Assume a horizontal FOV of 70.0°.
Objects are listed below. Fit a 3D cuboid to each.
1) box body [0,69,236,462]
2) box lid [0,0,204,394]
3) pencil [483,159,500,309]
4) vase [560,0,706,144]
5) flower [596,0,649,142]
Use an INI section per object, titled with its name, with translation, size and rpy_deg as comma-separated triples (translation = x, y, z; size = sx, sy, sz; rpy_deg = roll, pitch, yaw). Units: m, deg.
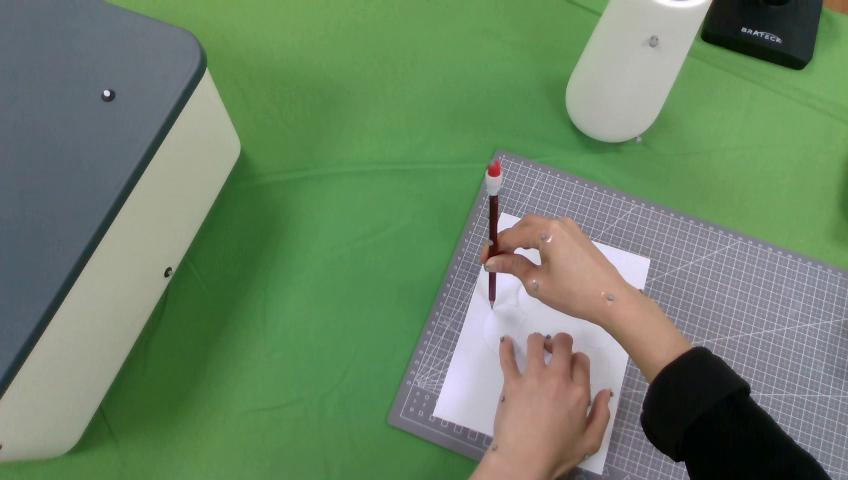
[box body]
translation = -0.359, -0.020, 0.523
size = 0.254, 0.161, 0.362
rpy_deg = 20, 71, 7
[box lid]
translation = -0.358, -0.048, 0.453
size = 0.263, 0.015, 0.370
rpy_deg = 21, 71, 6
[pencil]
translation = 0.054, 0.005, 0.503
size = 0.012, 0.196, 0.012
rpy_deg = -2, 52, 3
[vase]
translation = 0.191, -0.175, 0.568
size = 0.098, 0.201, 0.097
rpy_deg = 0, 69, 0
[flower]
translation = 0.190, -0.218, 0.494
size = 0.044, 0.365, 0.038
rpy_deg = 14, 53, 8
